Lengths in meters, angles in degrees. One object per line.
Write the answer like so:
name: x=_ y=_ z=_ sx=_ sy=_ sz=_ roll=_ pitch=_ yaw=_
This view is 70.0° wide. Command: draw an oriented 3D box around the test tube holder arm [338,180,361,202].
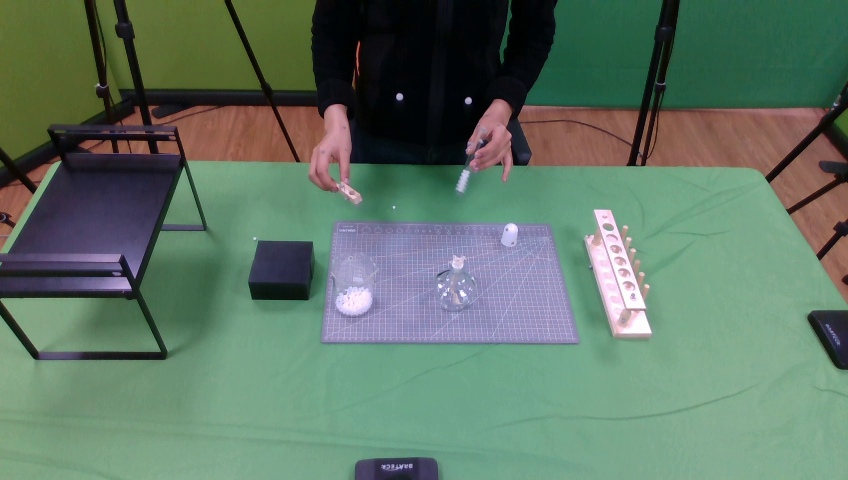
test tube holder arm: x=-0.140 y=-0.090 z=1.111 sx=0.010 sy=0.015 sz=0.087 roll=-27 pitch=35 yaw=-23

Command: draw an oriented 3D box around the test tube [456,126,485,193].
test tube: x=0.086 y=-0.149 z=1.140 sx=0.017 sy=0.151 sz=0.017 roll=10 pitch=42 yaw=-9

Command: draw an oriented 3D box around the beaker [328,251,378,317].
beaker: x=-0.123 y=0.079 z=1.055 sx=0.084 sy=0.101 sz=0.073 roll=0 pitch=47 yaw=-5

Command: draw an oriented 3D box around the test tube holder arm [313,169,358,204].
test tube holder arm: x=-0.170 y=-0.103 z=1.142 sx=0.013 sy=0.015 sz=0.177 roll=-28 pitch=35 yaw=-25

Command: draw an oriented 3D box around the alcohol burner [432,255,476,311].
alcohol burner: x=0.055 y=0.070 z=1.068 sx=0.078 sy=0.119 sz=0.077 roll=3 pitch=45 yaw=-3

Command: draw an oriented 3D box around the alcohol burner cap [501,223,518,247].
alcohol burner cap: x=0.172 y=-0.013 z=1.206 sx=0.034 sy=0.048 sz=0.033 roll=1 pitch=45 yaw=-1

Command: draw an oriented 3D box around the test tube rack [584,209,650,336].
test tube rack: x=0.365 y=0.056 z=1.129 sx=0.067 sy=0.085 sz=0.240 roll=0 pitch=46 yaw=-3
